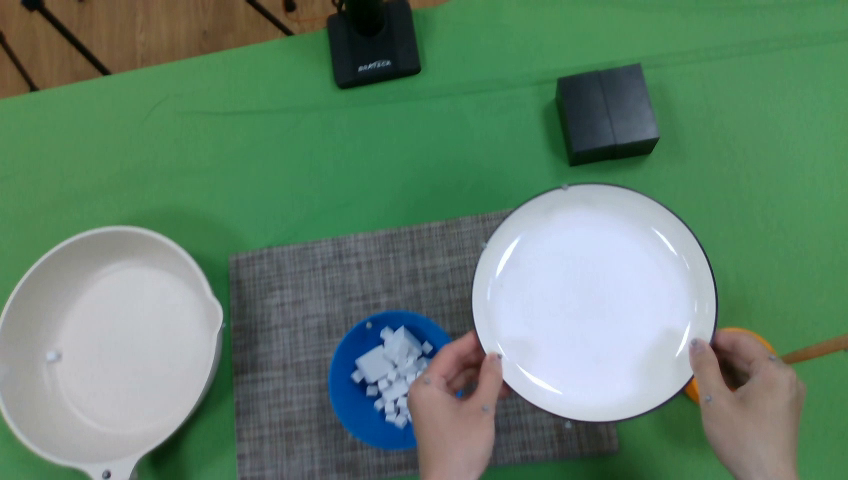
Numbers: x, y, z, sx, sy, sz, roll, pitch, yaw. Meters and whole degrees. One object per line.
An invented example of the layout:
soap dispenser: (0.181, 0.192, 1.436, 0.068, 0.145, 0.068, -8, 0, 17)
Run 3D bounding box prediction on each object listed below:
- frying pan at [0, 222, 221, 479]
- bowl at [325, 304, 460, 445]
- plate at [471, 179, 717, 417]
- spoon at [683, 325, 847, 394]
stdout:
frying pan: (-0.366, 0.218, 0.715, 0.307, 0.103, 0.483, -13, 67, 5)
bowl: (-0.030, 0.154, 0.694, 0.151, 0.077, 0.150, -2, 76, 7)
plate: (0.148, 0.050, 0.544, 0.207, 0.039, 0.207, -1, 84, 10)
spoon: (0.353, 0.120, 0.619, 0.022, 0.194, 0.041, -8, 71, -40)
